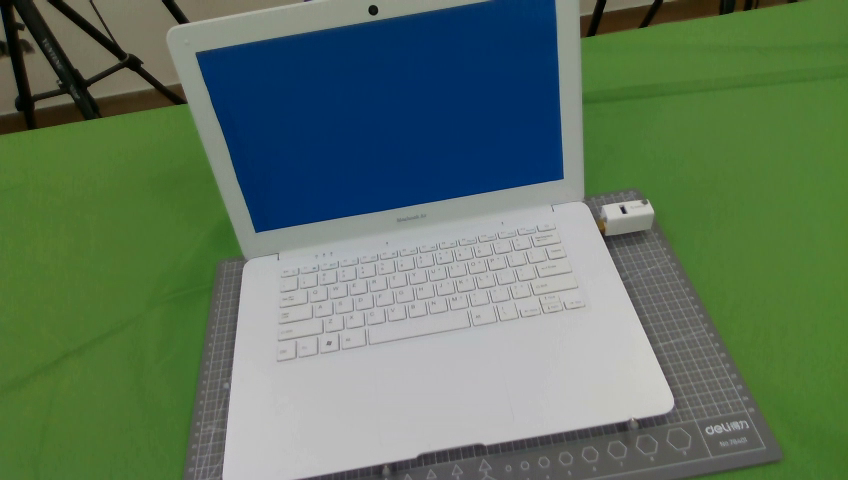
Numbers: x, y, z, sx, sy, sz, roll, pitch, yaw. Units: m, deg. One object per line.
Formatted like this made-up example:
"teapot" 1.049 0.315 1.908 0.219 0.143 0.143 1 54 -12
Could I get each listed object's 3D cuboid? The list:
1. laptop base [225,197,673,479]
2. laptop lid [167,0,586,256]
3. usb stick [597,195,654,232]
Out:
"laptop base" 0.007 0.076 0.542 0.354 0.023 0.233 -10 50 0
"laptop lid" -0.026 -0.111 0.561 0.357 0.244 0.013 -11 30 1
"usb stick" 0.189 -0.025 0.586 0.059 0.027 0.021 -10 48 3
